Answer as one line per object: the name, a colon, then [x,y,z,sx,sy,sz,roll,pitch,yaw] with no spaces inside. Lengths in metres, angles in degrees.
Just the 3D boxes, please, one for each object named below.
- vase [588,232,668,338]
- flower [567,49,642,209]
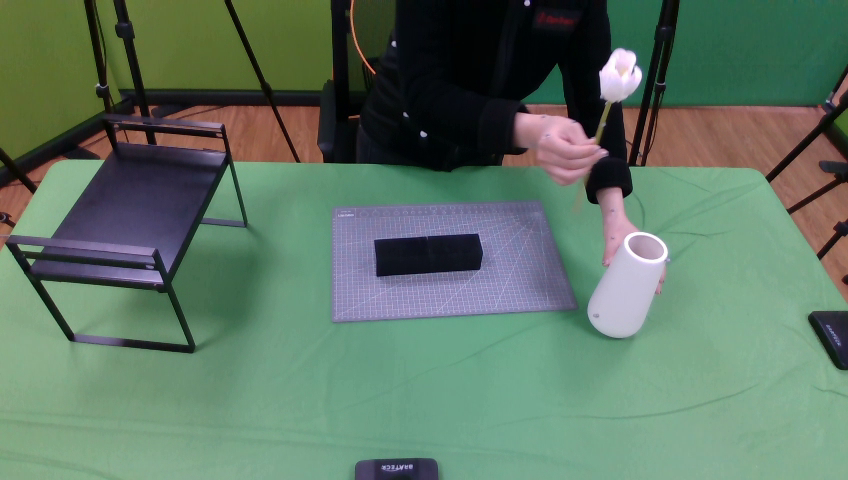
vase: [0.343,0.079,1.022,0.098,0.201,0.097,2,48,-1]
flower: [0.225,-0.123,0.814,0.038,0.363,0.044,-29,69,-9]
